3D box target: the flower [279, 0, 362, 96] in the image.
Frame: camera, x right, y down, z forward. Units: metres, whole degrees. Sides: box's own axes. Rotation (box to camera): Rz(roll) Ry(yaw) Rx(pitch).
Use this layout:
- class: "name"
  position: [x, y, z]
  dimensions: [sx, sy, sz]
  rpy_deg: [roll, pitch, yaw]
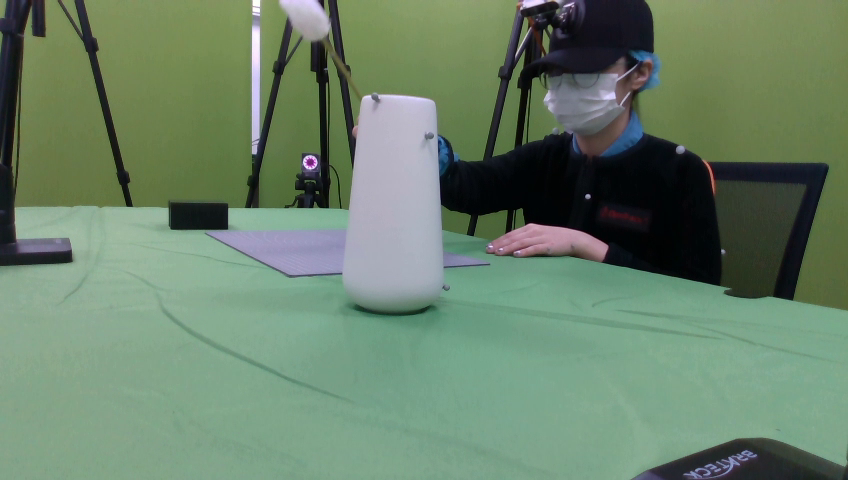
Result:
- class: "flower"
  position: [-0.068, -0.168, 0.788]
  dimensions: [0.038, 0.363, 0.044]
  rpy_deg: [-25, 41, 13]

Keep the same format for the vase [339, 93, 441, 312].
- class: "vase"
  position: [-0.032, -0.035, 0.577]
  dimensions: [0.098, 0.200, 0.098]
  rpy_deg: [0, 7, 0]
